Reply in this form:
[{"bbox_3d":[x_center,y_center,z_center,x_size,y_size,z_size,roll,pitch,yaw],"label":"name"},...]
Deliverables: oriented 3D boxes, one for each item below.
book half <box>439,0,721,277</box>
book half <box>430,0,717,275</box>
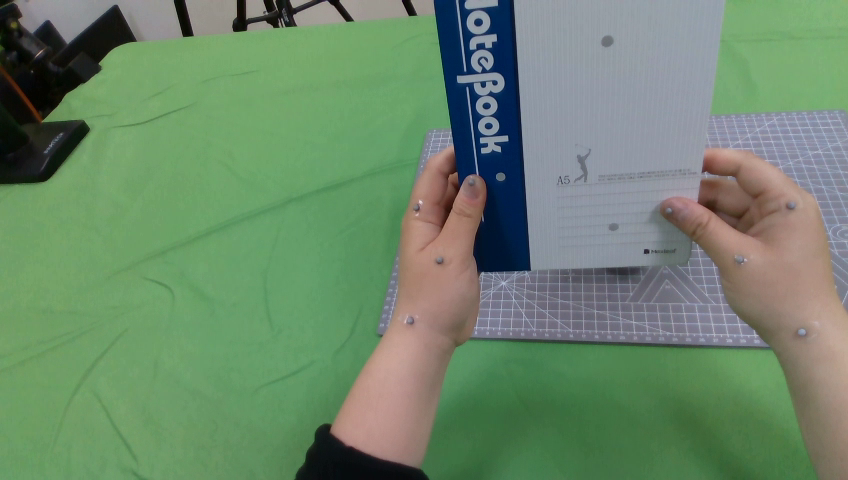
[{"bbox_3d":[0.090,-0.061,0.359,0.143,0.212,0.007,-3,37,10],"label":"book half"},{"bbox_3d":[0.089,-0.065,0.362,0.148,0.212,0.016,-3,37,10],"label":"book half"}]
